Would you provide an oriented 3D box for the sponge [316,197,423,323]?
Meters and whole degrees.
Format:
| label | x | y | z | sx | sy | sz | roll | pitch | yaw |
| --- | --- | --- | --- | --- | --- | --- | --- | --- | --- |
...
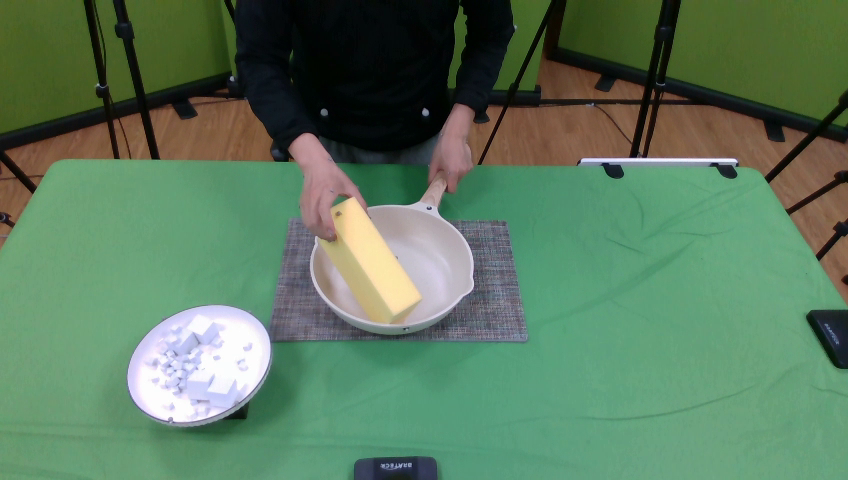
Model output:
| label | x | y | z | sx | sy | sz | roll | pitch | yaw |
| --- | --- | --- | --- | --- | --- | --- | --- | --- | --- |
| sponge | -0.097 | 0.045 | 1.019 | 0.061 | 0.118 | 0.206 | -31 | 81 | -25 |

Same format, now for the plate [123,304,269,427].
| label | x | y | z | sx | sy | sz | roll | pitch | yaw |
| --- | --- | --- | --- | --- | --- | --- | --- | --- | --- |
| plate | -0.337 | 0.189 | 0.913 | 0.208 | 0.039 | 0.206 | 1 | 46 | -1 |

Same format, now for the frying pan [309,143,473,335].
| label | x | y | z | sx | sy | sz | roll | pitch | yaw |
| --- | --- | --- | --- | --- | --- | --- | --- | --- | --- |
| frying pan | -0.018 | -0.022 | 1.155 | 0.306 | 0.103 | 0.486 | 20 | 57 | 13 |
